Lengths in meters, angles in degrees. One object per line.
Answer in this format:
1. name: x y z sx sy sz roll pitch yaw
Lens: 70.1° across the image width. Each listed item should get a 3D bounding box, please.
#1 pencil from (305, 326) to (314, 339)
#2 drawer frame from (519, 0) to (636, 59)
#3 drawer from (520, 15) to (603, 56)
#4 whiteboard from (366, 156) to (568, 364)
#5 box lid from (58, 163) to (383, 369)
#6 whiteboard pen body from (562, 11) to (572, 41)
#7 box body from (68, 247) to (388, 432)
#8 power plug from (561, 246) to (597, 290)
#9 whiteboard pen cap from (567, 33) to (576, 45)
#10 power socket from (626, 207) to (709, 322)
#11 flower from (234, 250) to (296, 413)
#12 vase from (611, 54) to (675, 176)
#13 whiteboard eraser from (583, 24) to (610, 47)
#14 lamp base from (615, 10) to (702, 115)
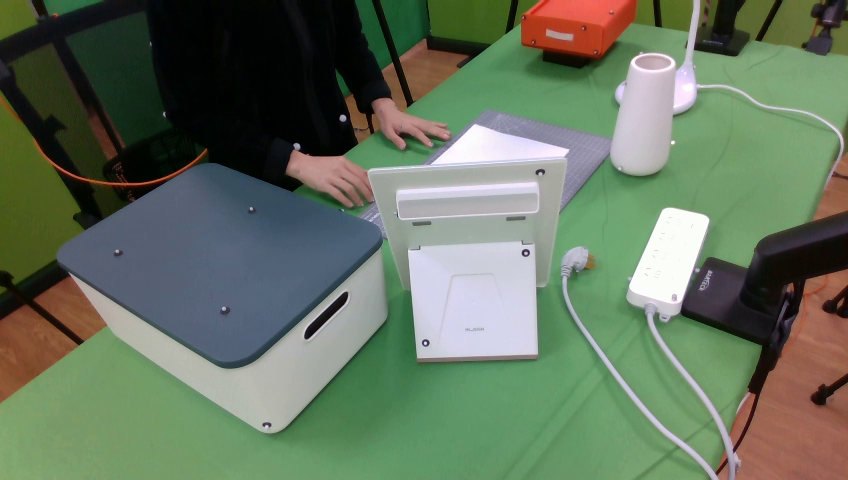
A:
1. pencil: -0.187 0.106 0.880 0.012 0.012 0.192 -27 41 -22
2. drawer frame: 0.362 -0.518 1.423 0.200 0.083 0.214 19 48 29
3. drawer: 0.359 -0.517 1.416 0.193 0.073 0.212 20 47 29
4. whiteboard: 0.059 0.050 0.738 0.217 0.307 0.143 -2 60 6
5. box lid: -0.262 0.010 0.777 0.369 0.015 0.264 21 47 29
6. whiteboard pen body: 0.340 -0.505 1.431 0.017 0.017 0.140 -1 44 7
7. box body: -0.256 0.065 0.826 0.361 0.161 0.255 20 47 29
8. power plug: 0.228 0.044 0.897 0.053 0.035 0.072 15 82 -9
9. whiteboard pen cap: 0.339 -0.463 1.390 0.018 0.018 0.033 -2 44 5
10. power socket: 0.360 0.026 0.886 0.072 0.033 0.227 17 46 26
11. flower: -0.244 0.109 0.870 0.044 0.038 0.358 11 26 -32
12. vase: 0.377 -0.209 1.031 0.098 0.201 0.097 -3 40 3
13. whiteboard eraser: 0.407 -0.479 1.423 0.055 0.042 0.113 -2 9 21
14. lamp base: 0.484 -0.363 1.211 0.180 0.181 0.159 -15 41 -14
